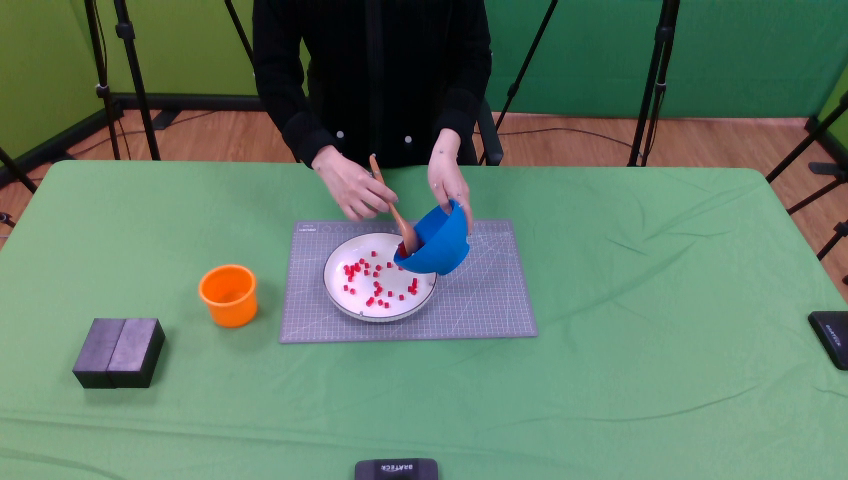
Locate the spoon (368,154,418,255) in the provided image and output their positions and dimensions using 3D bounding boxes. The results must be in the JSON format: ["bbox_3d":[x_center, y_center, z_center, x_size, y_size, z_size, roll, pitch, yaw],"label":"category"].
[{"bbox_3d":[-0.055,-0.059,1.037,0.021,0.194,0.041,-11,25,40],"label":"spoon"}]

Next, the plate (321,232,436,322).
[{"bbox_3d":[-0.083,0.070,1.109,0.209,0.038,0.208,3,46,-2],"label":"plate"}]

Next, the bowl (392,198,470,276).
[{"bbox_3d":[0.025,0.008,1.037,0.077,0.151,0.151,44,48,-15],"label":"bowl"}]
